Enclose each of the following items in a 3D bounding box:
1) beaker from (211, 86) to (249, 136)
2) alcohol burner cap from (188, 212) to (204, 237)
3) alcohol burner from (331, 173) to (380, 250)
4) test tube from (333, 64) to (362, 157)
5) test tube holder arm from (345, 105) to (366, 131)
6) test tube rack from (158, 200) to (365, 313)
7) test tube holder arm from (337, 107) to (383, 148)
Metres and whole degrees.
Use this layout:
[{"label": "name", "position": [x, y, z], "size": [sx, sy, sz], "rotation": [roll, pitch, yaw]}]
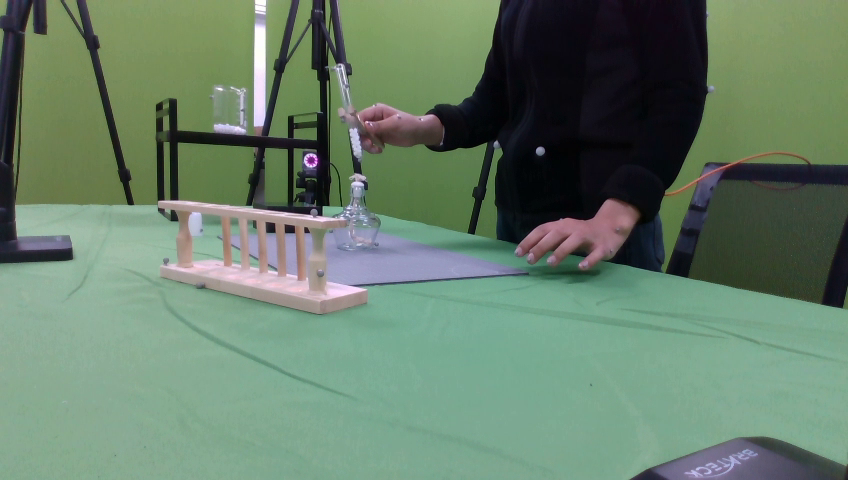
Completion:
[{"label": "beaker", "position": [-0.413, -0.274, 1.297], "size": [0.074, 0.100, 0.083], "rotation": [-5, 11, -44]}, {"label": "alcohol burner cap", "position": [-0.390, -0.029, 1.025], "size": [0.034, 0.048, 0.034], "rotation": [2, 9, 0]}, {"label": "alcohol burner", "position": [-0.106, -0.044, 0.930], "size": [0.078, 0.119, 0.078], "rotation": [3, 6, 0]}, {"label": "test tube", "position": [-0.117, -0.200, 0.932], "size": [0.017, 0.150, 0.017], "rotation": [-13, -8, -1]}, {"label": "test tube holder arm", "position": [-0.107, -0.190, 0.953], "size": [0.010, 0.015, 0.088], "rotation": [-12, -11, 7]}, {"label": "test tube rack", "position": [-0.173, 0.009, 0.624], "size": [0.241, 0.085, 0.067], "rotation": [7, 9, 34]}, {"label": "test tube holder arm", "position": [-0.102, -0.183, 0.997], "size": [0.013, 0.015, 0.179], "rotation": [-12, -11, 13]}]
